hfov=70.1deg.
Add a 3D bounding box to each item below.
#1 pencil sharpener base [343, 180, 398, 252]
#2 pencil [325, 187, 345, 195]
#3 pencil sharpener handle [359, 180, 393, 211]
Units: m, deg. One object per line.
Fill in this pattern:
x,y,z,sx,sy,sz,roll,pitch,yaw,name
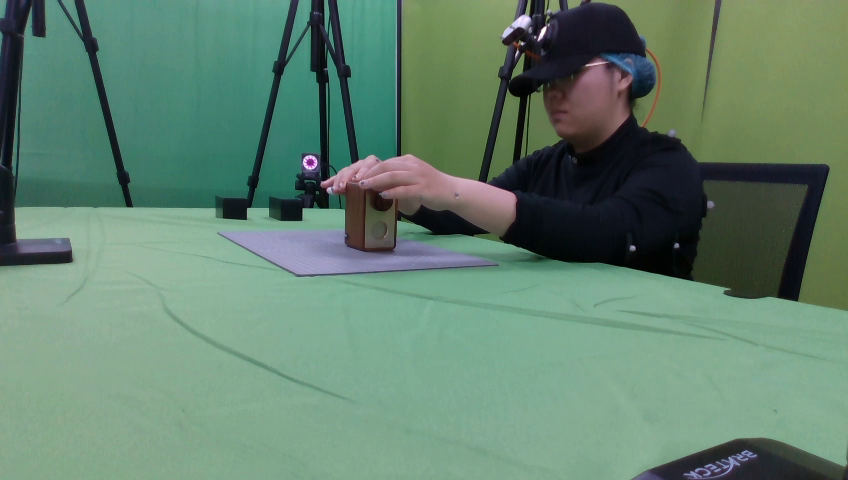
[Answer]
-0.085,-0.038,0.957,0.062,0.107,0.076,-2,9,-33,pencil sharpener base
-0.126,-0.077,1.022,0.012,0.012,0.193,-2,10,-33,pencil
-0.066,-0.067,0.903,0.068,0.036,0.030,37,-13,-32,pencil sharpener handle
